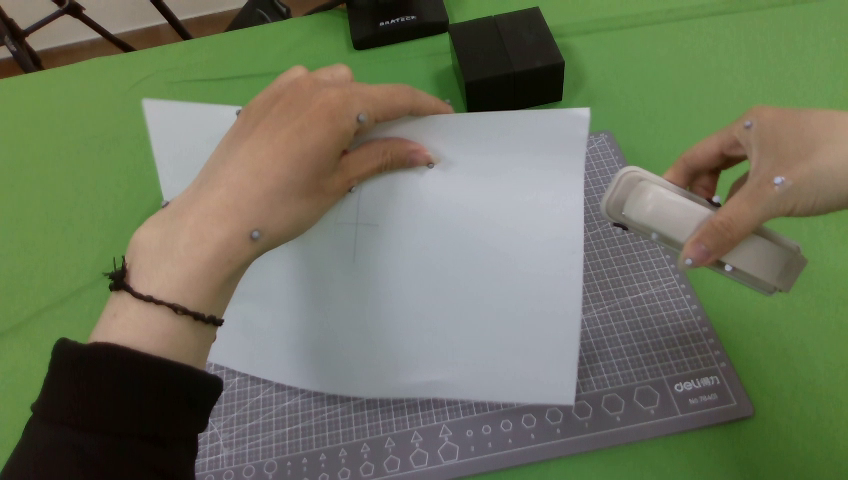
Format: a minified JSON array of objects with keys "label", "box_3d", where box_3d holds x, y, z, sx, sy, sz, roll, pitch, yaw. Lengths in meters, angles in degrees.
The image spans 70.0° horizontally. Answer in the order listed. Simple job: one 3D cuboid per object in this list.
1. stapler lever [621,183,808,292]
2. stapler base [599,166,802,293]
[{"label":"stapler lever","box_3d":[0.178,-0.001,0.371,0.118,0.027,0.040,25,16,3]},{"label":"stapler base","box_3d":[0.180,-0.006,0.394,0.130,0.041,0.024,24,16,1]}]
